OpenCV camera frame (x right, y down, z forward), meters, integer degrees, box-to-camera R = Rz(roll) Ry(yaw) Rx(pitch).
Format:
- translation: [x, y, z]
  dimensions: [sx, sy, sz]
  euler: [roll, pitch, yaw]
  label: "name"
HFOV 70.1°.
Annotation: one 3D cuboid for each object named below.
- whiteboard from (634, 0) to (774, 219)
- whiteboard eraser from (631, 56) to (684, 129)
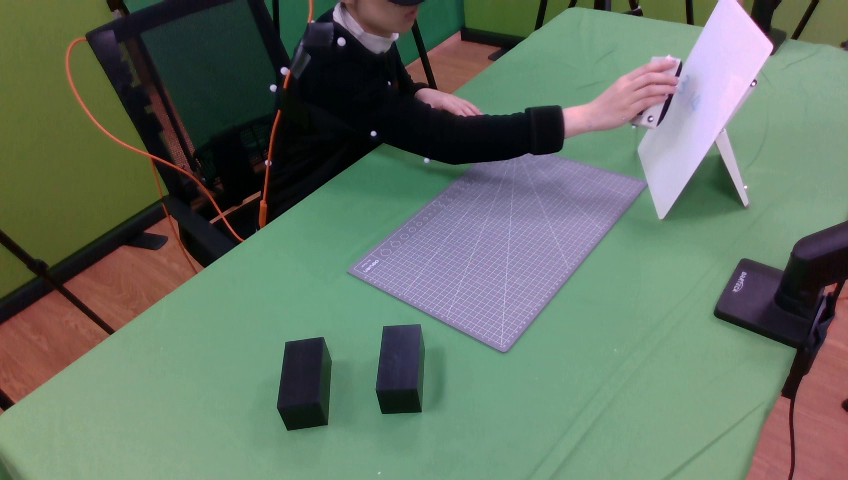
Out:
- translation: [0.485, -0.192, 0.957]
  dimensions: [0.144, 0.305, 0.216]
  euler: [14, 41, -4]
  label: "whiteboard"
- translation: [0.375, -0.235, 0.968]
  dimensions: [0.042, 0.112, 0.055]
  euler: [14, 12, -18]
  label: "whiteboard eraser"
